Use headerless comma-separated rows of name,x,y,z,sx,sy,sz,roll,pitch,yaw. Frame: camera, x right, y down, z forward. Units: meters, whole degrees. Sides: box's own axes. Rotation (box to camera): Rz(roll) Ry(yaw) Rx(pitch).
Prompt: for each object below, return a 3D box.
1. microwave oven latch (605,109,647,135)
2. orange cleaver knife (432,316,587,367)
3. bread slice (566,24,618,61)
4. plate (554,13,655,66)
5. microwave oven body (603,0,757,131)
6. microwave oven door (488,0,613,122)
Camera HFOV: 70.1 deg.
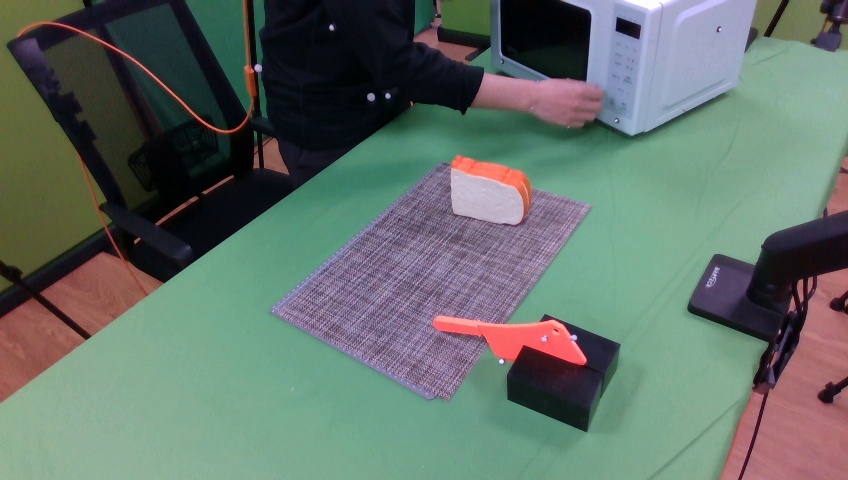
microwave oven latch,0.379,-0.225,1.139,0.030,0.029,0.078,-26,43,-19
orange cleaver knife,0.101,0.127,0.761,0.210,0.077,0.012,-1,34,40
bread slice,0.363,-0.431,1.318,0.107,0.018,0.134,1,49,10
plate,0.387,-0.427,1.305,0.207,0.039,0.206,-5,44,5
microwave oven body,0.396,-0.448,1.248,0.327,0.261,0.437,-27,44,-21
microwave oven door,0.250,-0.412,1.219,0.039,0.245,0.352,-27,44,-21
